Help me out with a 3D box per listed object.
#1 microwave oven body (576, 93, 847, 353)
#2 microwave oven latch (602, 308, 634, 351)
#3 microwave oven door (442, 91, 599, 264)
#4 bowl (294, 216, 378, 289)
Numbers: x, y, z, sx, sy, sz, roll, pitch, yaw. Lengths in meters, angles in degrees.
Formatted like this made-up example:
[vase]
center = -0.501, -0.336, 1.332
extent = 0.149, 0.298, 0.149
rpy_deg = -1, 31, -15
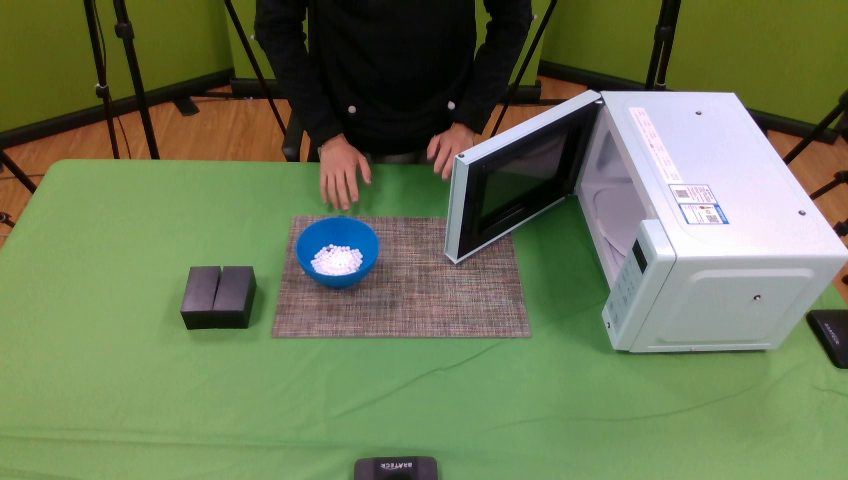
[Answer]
[microwave oven body]
center = 0.475, -0.041, 1.109
extent = 0.326, 0.261, 0.438
rpy_deg = -1, 45, -4
[microwave oven latch]
center = 0.332, 0.153, 1.044
extent = 0.030, 0.029, 0.078
rpy_deg = -1, 45, -4
[microwave oven door]
center = 0.187, -0.123, 1.160
extent = 0.356, 0.245, 0.039
rpy_deg = -29, 55, -28
[bowl]
center = -0.158, 0.036, 1.110
extent = 0.151, 0.077, 0.150
rpy_deg = 3, 45, -2
